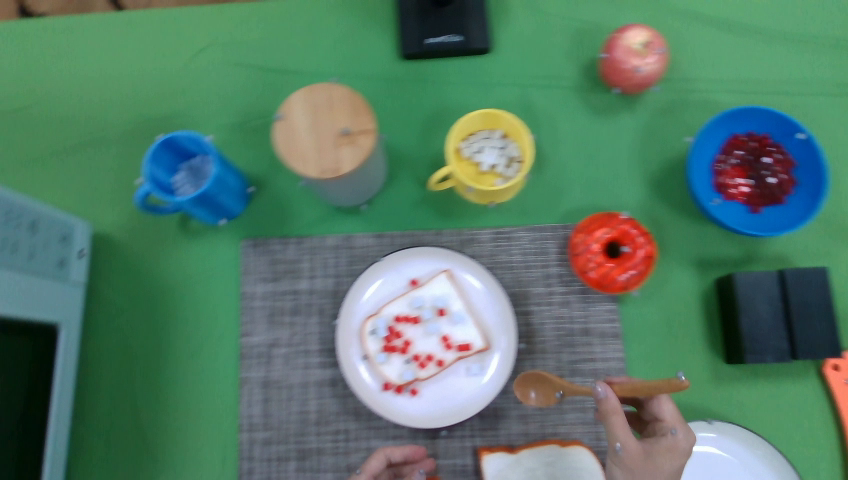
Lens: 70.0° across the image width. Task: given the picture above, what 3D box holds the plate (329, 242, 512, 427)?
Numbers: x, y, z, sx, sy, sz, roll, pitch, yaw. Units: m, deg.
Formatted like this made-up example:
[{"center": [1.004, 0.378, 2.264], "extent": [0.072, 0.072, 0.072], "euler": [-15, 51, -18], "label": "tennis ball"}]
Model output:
[{"center": [-0.004, 0.107, 0.698], "extent": [0.207, 0.039, 0.206], "euler": [0, 79, 2], "label": "plate"}]

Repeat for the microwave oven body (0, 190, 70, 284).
[{"center": [-0.581, 0.166, 0.595], "extent": [0.326, 0.261, 0.439], "euler": [0, 79, 2], "label": "microwave oven body"}]

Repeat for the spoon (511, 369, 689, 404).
[{"center": [0.153, 0.135, 0.559], "extent": [0.021, 0.193, 0.042], "euler": [-31, 97, -36], "label": "spoon"}]

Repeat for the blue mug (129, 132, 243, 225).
[{"center": [-0.285, -0.061, 0.711], "extent": [0.116, 0.106, 0.082], "euler": [-28, 78, -3], "label": "blue mug"}]

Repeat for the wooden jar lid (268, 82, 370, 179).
[{"center": [-0.110, -0.114, 0.641], "extent": [0.108, 0.021, 0.108], "euler": [-1, 77, 3], "label": "wooden jar lid"}]

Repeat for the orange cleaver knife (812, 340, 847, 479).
[{"center": [0.483, 0.214, 0.671], "extent": [0.077, 0.012, 0.210], "euler": [-1, 77, -5], "label": "orange cleaver knife"}]

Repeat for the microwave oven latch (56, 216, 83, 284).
[{"center": [-0.427, 0.012, 0.718], "extent": [0.030, 0.029, 0.079], "euler": [2, 79, 2], "label": "microwave oven latch"}]

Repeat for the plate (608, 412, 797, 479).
[{"center": [0.298, 0.292, 0.653], "extent": [0.209, 0.038, 0.208], "euler": [-1, 79, 3], "label": "plate"}]

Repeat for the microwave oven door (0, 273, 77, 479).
[{"center": [-0.436, 0.206, 0.576], "extent": [0.039, 0.245, 0.354], "euler": [0, 78, 3], "label": "microwave oven door"}]

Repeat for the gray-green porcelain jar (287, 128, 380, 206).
[{"center": [-0.107, -0.100, 0.702], "extent": [0.106, 0.127, 0.105], "euler": [0, 78, 2], "label": "gray-green porcelain jar"}]

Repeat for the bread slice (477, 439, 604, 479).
[{"center": [0.130, 0.269, 0.638], "extent": [0.135, 0.018, 0.106], "euler": [-7, 75, -19], "label": "bread slice"}]

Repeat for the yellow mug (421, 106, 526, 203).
[{"center": [0.055, -0.094, 0.726], "extent": [0.131, 0.064, 0.099], "euler": [-27, 79, -2], "label": "yellow mug"}]

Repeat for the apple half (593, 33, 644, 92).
[{"center": [0.227, -0.206, 0.735], "extent": [0.033, 0.081, 0.081], "euler": [-35, 79, -9], "label": "apple half"}]

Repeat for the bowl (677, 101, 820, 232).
[{"center": [0.361, -0.075, 0.703], "extent": [0.151, 0.077, 0.150], "euler": [0, 79, 3], "label": "bowl"}]

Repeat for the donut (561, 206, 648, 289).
[{"center": [0.209, 0.009, 0.706], "extent": [0.099, 0.048, 0.098], "euler": [0, 79, 3], "label": "donut"}]

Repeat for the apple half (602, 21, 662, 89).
[{"center": [0.258, -0.229, 0.741], "extent": [0.053, 0.075, 0.080], "euler": [-35, 75, -10], "label": "apple half"}]

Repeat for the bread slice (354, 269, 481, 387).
[{"center": [-0.013, 0.109, 0.699], "extent": [0.131, 0.019, 0.104], "euler": [-29, 79, -4], "label": "bread slice"}]
